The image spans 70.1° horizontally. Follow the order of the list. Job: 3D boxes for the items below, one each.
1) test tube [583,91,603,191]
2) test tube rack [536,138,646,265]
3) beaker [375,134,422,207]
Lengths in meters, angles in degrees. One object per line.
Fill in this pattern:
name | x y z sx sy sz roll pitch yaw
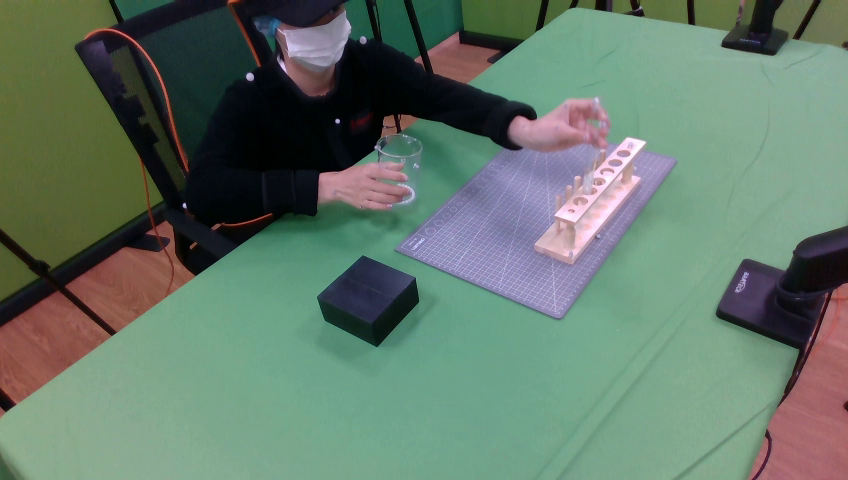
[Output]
test tube | 0.242 -0.139 0.868 0.017 0.150 0.017 -2 30 2
test tube rack | 0.268 -0.071 0.964 0.066 0.085 0.243 23 49 32
beaker | -0.041 -0.113 0.990 0.073 0.100 0.084 17 40 16
